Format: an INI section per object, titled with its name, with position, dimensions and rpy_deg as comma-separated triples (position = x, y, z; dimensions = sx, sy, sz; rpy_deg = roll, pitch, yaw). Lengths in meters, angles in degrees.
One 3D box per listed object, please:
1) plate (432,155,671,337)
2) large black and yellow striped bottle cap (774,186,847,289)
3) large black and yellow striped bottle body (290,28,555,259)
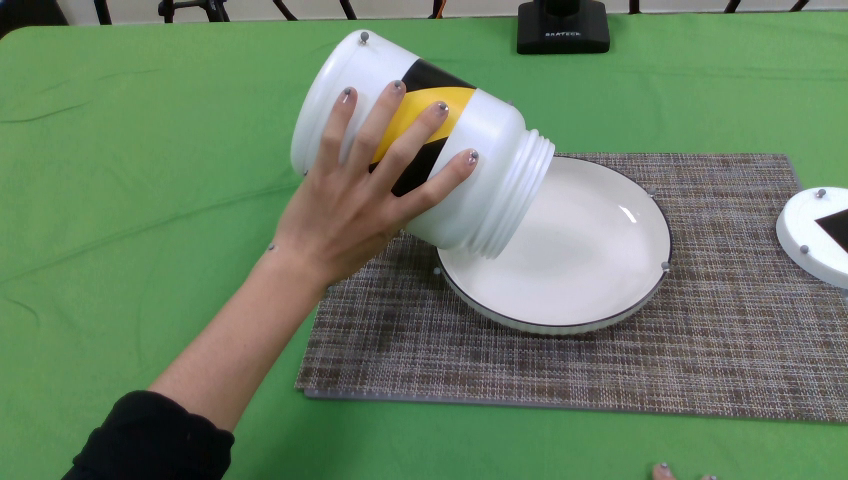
[plate]
position = 0.112, 0.003, 0.548
dimensions = 0.207, 0.039, 0.205
rpy_deg = -3, 48, 3
[large black and yellow striped bottle cap]
position = 0.378, -0.004, 0.542
dimensions = 0.115, 0.019, 0.114
rpy_deg = 0, 49, 1
[large black and yellow striped bottle body]
position = 0.000, -0.073, 0.497
dimensions = 0.184, 0.131, 0.130
rpy_deg = 28, 53, -1
